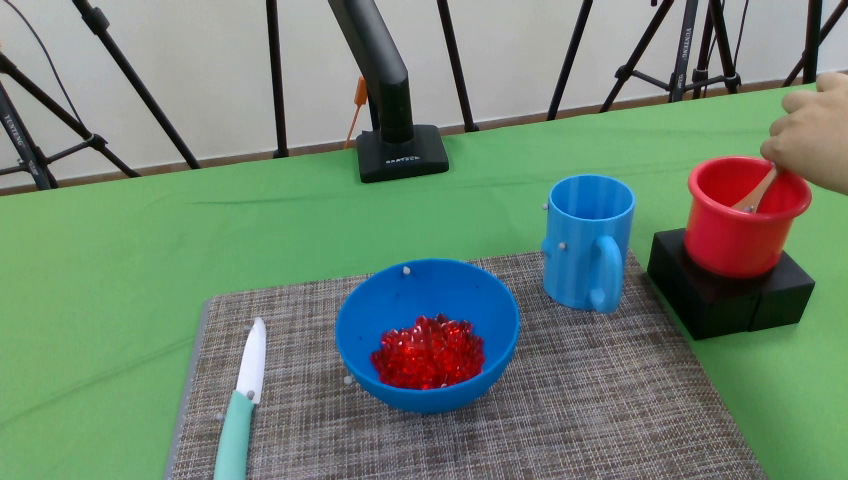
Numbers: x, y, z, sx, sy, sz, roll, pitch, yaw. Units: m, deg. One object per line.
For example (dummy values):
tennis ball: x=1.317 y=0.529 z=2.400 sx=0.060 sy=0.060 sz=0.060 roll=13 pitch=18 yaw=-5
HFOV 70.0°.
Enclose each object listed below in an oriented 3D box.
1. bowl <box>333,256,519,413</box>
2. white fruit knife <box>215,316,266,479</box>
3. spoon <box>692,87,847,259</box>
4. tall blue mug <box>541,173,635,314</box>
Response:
bowl: x=0.004 y=0.092 z=0.512 sx=0.151 sy=0.077 sz=0.150 roll=-3 pitch=39 yaw=3
white fruit knife: x=-0.155 y=0.139 z=0.526 sx=0.027 sy=0.016 sz=0.205 roll=17 pitch=32 yaw=-19
spoon: x=0.312 y=-0.059 z=0.535 sx=0.194 sy=0.022 sz=0.041 roll=-53 pitch=40 yaw=13
tall blue mug: x=0.163 y=0.010 z=0.570 sx=0.078 sy=0.109 sz=0.106 roll=-26 pitch=42 yaw=-24
